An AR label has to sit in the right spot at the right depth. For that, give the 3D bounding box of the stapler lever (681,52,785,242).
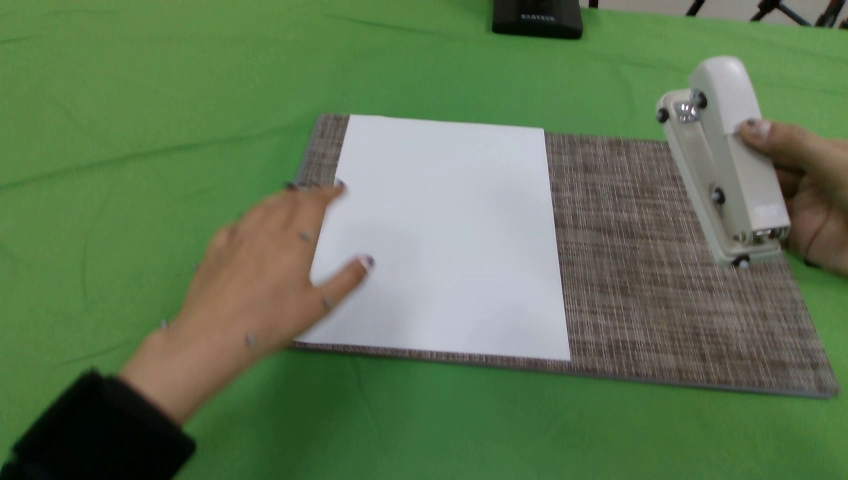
[{"bbox_3d":[0.184,-0.059,0.360,0.027,0.040,0.117,-10,67,-1],"label":"stapler lever"}]

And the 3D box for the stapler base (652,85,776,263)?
[{"bbox_3d":[0.183,-0.050,0.383,0.041,0.024,0.129,-10,67,-1],"label":"stapler base"}]
